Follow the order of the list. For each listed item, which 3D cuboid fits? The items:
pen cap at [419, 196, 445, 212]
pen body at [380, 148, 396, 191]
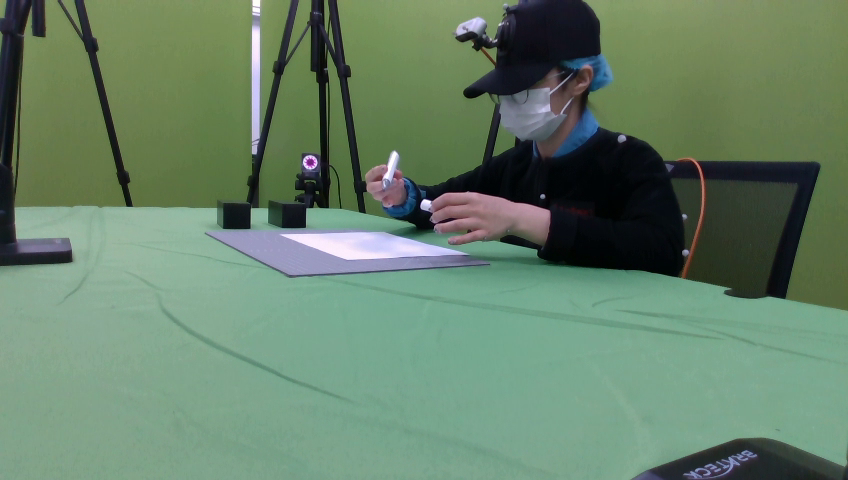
[{"bbox_3d":[0.013,-0.053,0.902,0.038,0.017,0.017,19,14,26],"label":"pen cap"},{"bbox_3d":[-0.062,-0.119,1.029,0.017,0.017,0.144,3,35,2],"label":"pen body"}]
